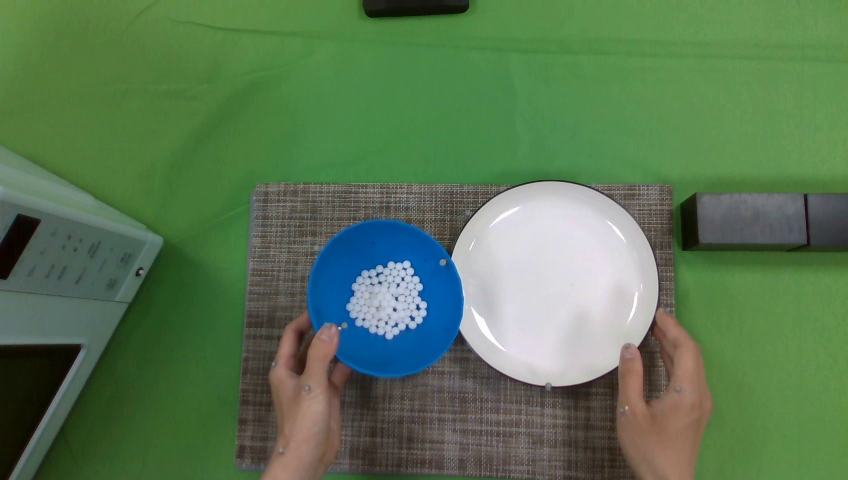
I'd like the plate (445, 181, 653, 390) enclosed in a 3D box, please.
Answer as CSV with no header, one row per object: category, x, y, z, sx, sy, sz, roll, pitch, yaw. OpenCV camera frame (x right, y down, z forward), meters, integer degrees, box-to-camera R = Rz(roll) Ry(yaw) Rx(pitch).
plate,0.122,0.045,0.614,0.207,0.039,0.207,-1,82,5

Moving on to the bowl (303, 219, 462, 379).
bowl,-0.047,0.062,0.589,0.152,0.077,0.150,6,72,-19

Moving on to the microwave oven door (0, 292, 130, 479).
microwave oven door,-0.424,0.198,0.524,0.039,0.245,0.355,27,85,10

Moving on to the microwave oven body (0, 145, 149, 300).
microwave oven body,-0.533,0.097,0.554,0.325,0.261,0.441,27,86,8

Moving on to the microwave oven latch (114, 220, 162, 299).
microwave oven latch,-0.311,0.022,0.643,0.030,0.029,0.079,29,86,8
